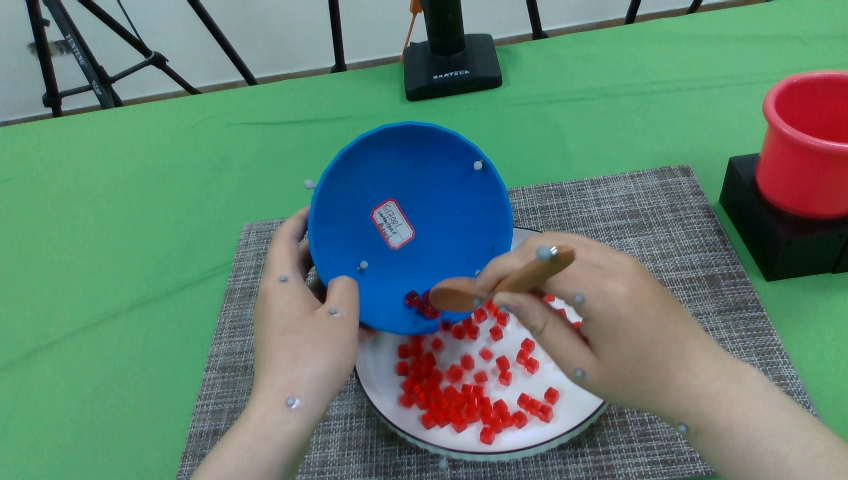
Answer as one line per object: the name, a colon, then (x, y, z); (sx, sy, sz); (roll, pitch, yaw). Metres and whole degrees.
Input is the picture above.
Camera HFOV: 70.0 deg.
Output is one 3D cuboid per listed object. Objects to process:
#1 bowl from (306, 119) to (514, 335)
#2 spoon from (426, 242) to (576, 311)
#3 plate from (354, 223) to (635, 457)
bowl: (-0.017, -0.010, 0.455); (0.151, 0.152, 0.076); (-27, 11, -15)
spoon: (0.039, 0.025, 0.337); (0.042, 0.193, 0.021); (12, 79, -11)
plate: (0.052, 0.071, 0.465); (0.207, 0.039, 0.205); (-6, 46, 7)
